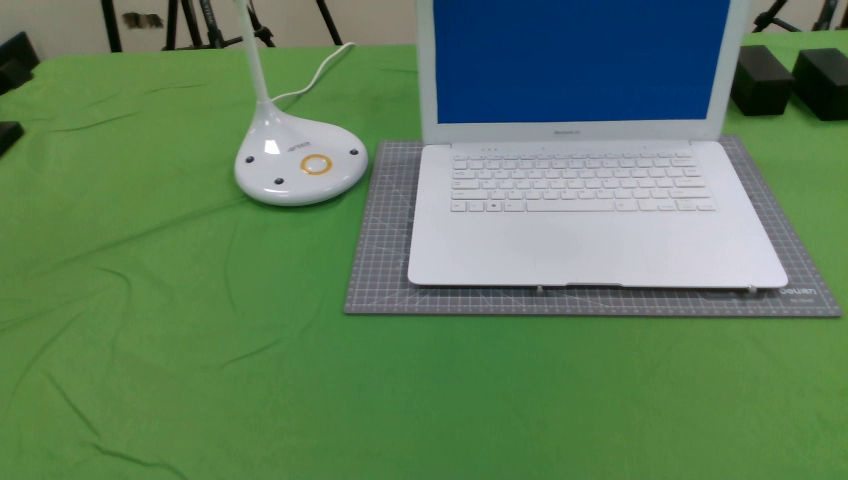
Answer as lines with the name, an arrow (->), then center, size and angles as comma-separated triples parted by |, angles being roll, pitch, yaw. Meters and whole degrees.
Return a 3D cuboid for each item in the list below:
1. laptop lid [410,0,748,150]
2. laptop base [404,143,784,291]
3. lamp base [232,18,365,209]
laptop lid -> 0.164, -0.206, 0.671 | 0.356, 0.244, 0.013 | -2, 34, 5
laptop base -> 0.162, -0.028, 0.651 | 0.354, 0.023, 0.233 | 0, 45, 4
lamp base -> -0.166, -0.152, 0.694 | 0.177, 0.182, 0.160 | 28, 50, 34
